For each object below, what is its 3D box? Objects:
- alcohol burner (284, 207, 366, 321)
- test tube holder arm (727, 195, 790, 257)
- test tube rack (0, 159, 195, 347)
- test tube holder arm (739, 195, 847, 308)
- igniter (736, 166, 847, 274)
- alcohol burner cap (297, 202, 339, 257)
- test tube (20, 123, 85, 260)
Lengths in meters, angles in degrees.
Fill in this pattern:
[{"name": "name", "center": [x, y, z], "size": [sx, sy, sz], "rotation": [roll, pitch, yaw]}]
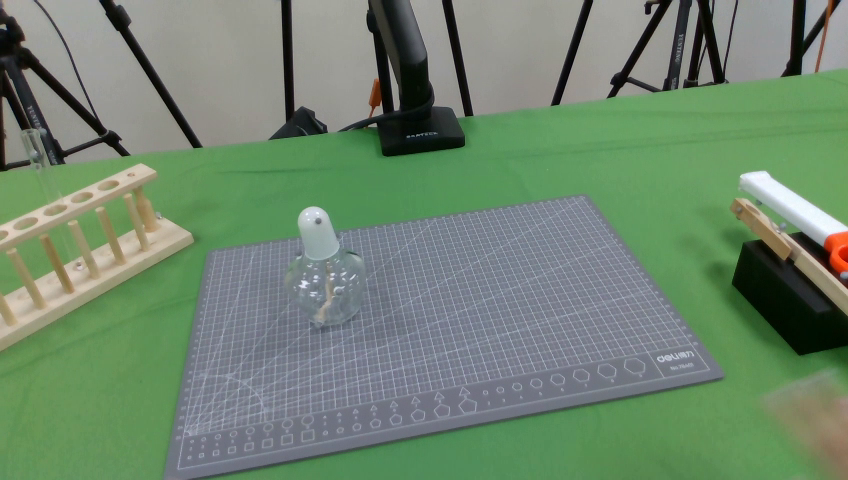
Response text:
[{"name": "alcohol burner", "center": [-0.094, 0.017, 0.561], "size": [0.078, 0.120, 0.077], "rotation": [-1, 38, 1]}, {"name": "test tube holder arm", "center": [0.314, -0.015, 0.566], "size": [0.010, 0.015, 0.087], "rotation": [-4, 36, -11]}, {"name": "test tube rack", "center": [-0.371, 0.011, 0.625], "size": [0.066, 0.086, 0.242], "rotation": [25, 45, 33]}, {"name": "test tube holder arm", "center": [0.328, 0.011, 0.532], "size": [0.013, 0.015, 0.176], "rotation": [-4, 36, -11]}, {"name": "igniter", "center": [0.372, 0.001, 0.534], "size": [0.057, 0.025, 0.273], "rotation": [-10, 33, -6]}, {"name": "alcohol burner cap", "center": [-0.096, -0.012, 0.540], "size": [0.034, 0.048, 0.033], "rotation": [-5, 39, 4]}, {"name": "test tube", "center": [-0.375, -0.044, 0.616], "size": [0.017, 0.151, 0.017], "rotation": [-2, 30, 1]}]
